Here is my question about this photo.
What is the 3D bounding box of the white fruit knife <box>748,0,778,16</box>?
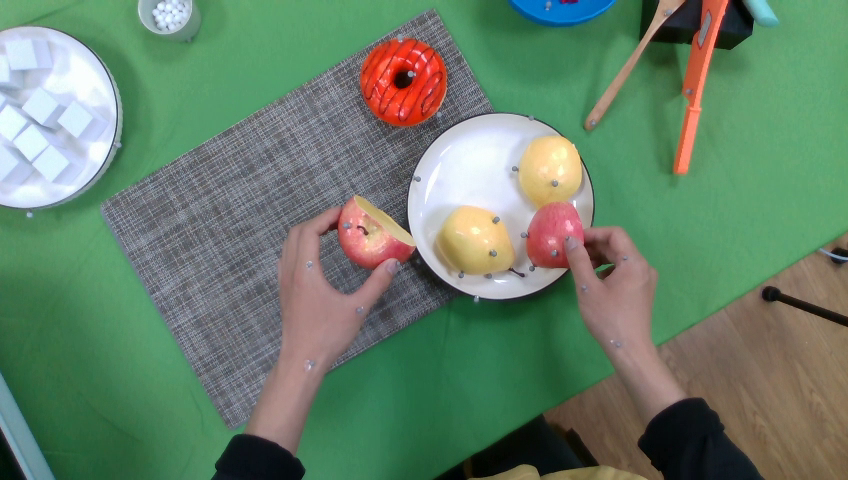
[{"bbox_3d":[0.311,-0.324,0.637,0.027,0.016,0.207,-28,87,-28],"label":"white fruit knife"}]

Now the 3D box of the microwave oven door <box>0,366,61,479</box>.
[{"bbox_3d":[-0.444,0.251,0.572,0.039,0.244,0.355,-28,89,1],"label":"microwave oven door"}]

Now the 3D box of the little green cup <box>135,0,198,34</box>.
[{"bbox_3d":[-0.288,-0.265,0.686,0.061,0.038,0.061,0,90,2],"label":"little green cup"}]

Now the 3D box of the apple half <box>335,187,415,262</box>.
[{"bbox_3d":[-0.054,-0.008,0.600,0.081,0.074,0.053,40,101,3],"label":"apple half"}]

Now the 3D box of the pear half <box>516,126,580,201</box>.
[{"bbox_3d":[0.132,-0.080,0.662,0.070,0.031,0.088,6,101,24],"label":"pear half"}]

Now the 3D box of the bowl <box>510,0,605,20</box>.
[{"bbox_3d":[0.142,-0.306,0.659,0.151,0.077,0.151,0,91,1],"label":"bowl"}]

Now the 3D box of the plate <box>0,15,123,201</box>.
[{"bbox_3d":[-0.441,-0.147,0.689,0.208,0.039,0.207,0,90,1],"label":"plate"}]

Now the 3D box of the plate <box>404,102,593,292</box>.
[{"bbox_3d":[0.082,-0.047,0.677,0.209,0.038,0.209,0,90,1],"label":"plate"}]

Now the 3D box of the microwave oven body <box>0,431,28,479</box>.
[{"bbox_3d":[-0.593,0.281,0.580,0.326,0.260,0.441,-28,90,0],"label":"microwave oven body"}]

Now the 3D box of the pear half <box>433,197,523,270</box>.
[{"bbox_3d":[0.066,0.001,0.664,0.110,0.056,0.076,32,95,-3],"label":"pear half"}]

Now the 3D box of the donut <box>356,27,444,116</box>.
[{"bbox_3d":[-0.026,-0.187,0.675,0.099,0.048,0.099,0,92,3],"label":"donut"}]

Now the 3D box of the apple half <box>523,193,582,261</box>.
[{"bbox_3d":[0.128,-0.014,0.640,0.033,0.081,0.081,3,90,-36],"label":"apple half"}]

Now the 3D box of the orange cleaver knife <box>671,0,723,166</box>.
[{"bbox_3d":[0.292,-0.187,0.655,0.012,0.077,0.212,6,116,6],"label":"orange cleaver knife"}]

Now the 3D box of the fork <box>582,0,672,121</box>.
[{"bbox_3d":[0.231,-0.220,0.653,0.028,0.018,0.208,28,111,-7],"label":"fork"}]
